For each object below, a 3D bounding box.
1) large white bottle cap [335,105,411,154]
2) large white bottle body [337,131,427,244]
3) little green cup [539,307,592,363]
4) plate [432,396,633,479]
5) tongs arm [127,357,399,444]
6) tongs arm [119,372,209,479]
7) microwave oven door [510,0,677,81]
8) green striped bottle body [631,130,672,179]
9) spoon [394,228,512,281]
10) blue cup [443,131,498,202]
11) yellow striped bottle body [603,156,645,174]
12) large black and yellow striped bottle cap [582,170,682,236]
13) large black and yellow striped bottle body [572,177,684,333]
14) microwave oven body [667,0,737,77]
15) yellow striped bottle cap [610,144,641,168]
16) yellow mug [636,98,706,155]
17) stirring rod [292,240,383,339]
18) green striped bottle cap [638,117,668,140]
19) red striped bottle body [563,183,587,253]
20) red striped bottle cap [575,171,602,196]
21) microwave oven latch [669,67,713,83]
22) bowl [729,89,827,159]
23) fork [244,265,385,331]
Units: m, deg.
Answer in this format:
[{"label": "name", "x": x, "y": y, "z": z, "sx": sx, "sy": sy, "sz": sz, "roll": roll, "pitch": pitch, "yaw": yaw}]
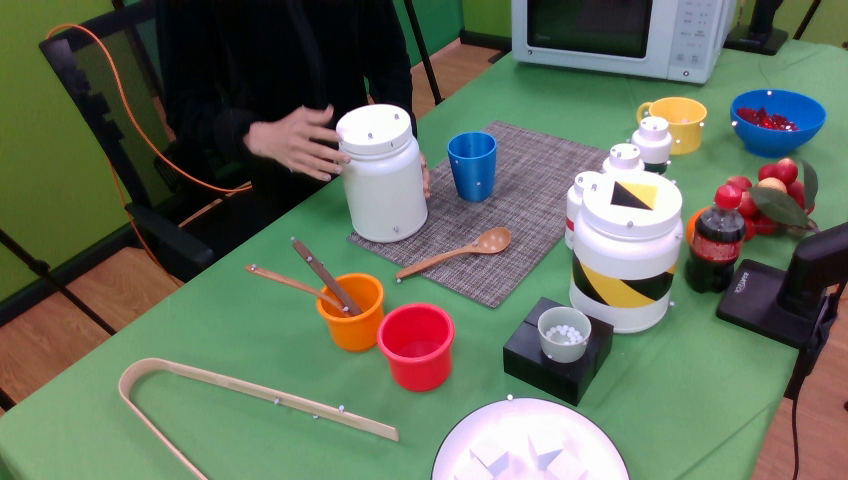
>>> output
[{"label": "large white bottle cap", "x": -0.077, "y": -0.168, "z": 0.916, "sx": 0.115, "sy": 0.018, "sz": 0.114, "roll": -5, "pitch": 41, "yaw": 5}, {"label": "large white bottle body", "x": -0.067, "y": -0.101, "z": 0.973, "sx": 0.130, "sy": 0.185, "sz": 0.130, "roll": -4, "pitch": 40, "yaw": 4}, {"label": "little green cup", "x": 0.168, "y": 0.115, "z": 0.721, "sx": 0.061, "sy": 0.039, "sz": 0.061, "roll": -4, "pitch": 42, "yaw": 4}, {"label": "plate", "x": 0.112, "y": 0.261, "z": 0.634, "sx": 0.209, "sy": 0.038, "sz": 0.208, "roll": -5, "pitch": 40, "yaw": 4}, {"label": "tongs arm", "x": -0.213, "y": 0.205, "z": 0.755, "sx": 0.382, "sy": 0.026, "sz": 0.051, "roll": 12, "pitch": 46, "yaw": 23}, {"label": "tongs arm", "x": -0.258, "y": 0.257, "z": 0.700, "sx": 0.384, "sy": 0.028, "sz": 0.028, "roll": 24, "pitch": 55, "yaw": 34}, {"label": "microwave oven door", "x": 0.354, "y": -0.478, "z": 1.290, "sx": 0.353, "sy": 0.245, "sz": 0.039, "roll": 15, "pitch": 45, "yaw": 25}, {"label": "green striped bottle body", "x": 0.375, "y": -0.140, "z": 1.007, "sx": 0.063, "sy": 0.120, "sz": 0.063, "roll": -5, "pitch": 40, "yaw": 5}, {"label": "spoon", "x": 0.045, "y": 0.024, "z": 0.935, "sx": 0.194, "sy": 0.022, "sz": 0.041, "roll": -18, "pitch": 66, "yaw": -11}, {"label": "blue cup", "x": 0.087, "y": -0.122, "z": 1.040, "sx": 0.092, "sy": 0.101, "sz": 0.092, "roll": -5, "pitch": 42, "yaw": 5}, {"label": "yellow striped bottle body", "x": 0.313, "y": -0.089, "z": 0.956, "sx": 0.063, "sy": 0.121, "sz": 0.062, "roll": -4, "pitch": 40, "yaw": 4}, {"label": "large black and yellow striped bottle cap", "x": 0.252, "y": -0.048, "z": 0.735, "sx": 0.115, "sy": 0.019, "sz": 0.114, "roll": -3, "pitch": 40, "yaw": 3}, {"label": "large black and yellow striped bottle body", "x": 0.262, "y": 0.017, "z": 0.788, "sx": 0.131, "sy": 0.185, "sz": 0.130, "roll": -5, "pitch": 40, "yaw": 4}, {"label": "microwave oven body", "x": 0.462, "y": -0.552, "z": 1.369, "sx": 0.439, "sy": 0.261, "sz": 0.326, "roll": 15, "pitch": 45, "yaw": 26}, {"label": "yellow striped bottle cap", "x": 0.307, "y": -0.128, "z": 0.923, "sx": 0.044, "sy": 0.019, "sz": 0.044, "roll": -6, "pitch": 39, "yaw": 5}, {"label": "yellow mug", "x": 0.453, "y": -0.217, "z": 1.128, "sx": 0.100, "sy": 0.064, "sz": 0.129, "roll": -34, "pitch": 46, "yaw": -27}, {"label": "stirring rod", "x": -0.118, "y": 0.068, "z": 0.825, "sx": 0.176, "sy": 0.006, "sz": 0.014, "roll": 48, "pitch": 59, "yaw": -3}, {"label": "green striped bottle cap", "x": 0.369, "y": -0.180, "z": 0.974, "sx": 0.044, "sy": 0.020, "sz": 0.044, "roll": -4, "pitch": 41, "yaw": 4}, {"label": "red striped bottle body", "x": 0.246, "y": -0.041, "z": 0.910, "sx": 0.063, "sy": 0.120, "sz": 0.062, "roll": -2, "pitch": 38, "yaw": 2}, {"label": "red striped bottle cap", "x": 0.242, "y": -0.081, "z": 0.876, "sx": 0.044, "sy": 0.018, "sz": 0.044, "roll": -5, "pitch": 44, "yaw": 5}, {"label": "microwave oven latch", "x": 0.556, "y": -0.349, "z": 1.261, "sx": 0.078, "sy": 0.029, "sz": 0.030, "roll": 16, "pitch": 46, "yaw": 27}, {"label": "bowl", "x": 0.615, "y": -0.197, "z": 1.069, "sx": 0.151, "sy": 0.077, "sz": 0.150, "roll": -5, "pitch": 40, "yaw": 5}, {"label": "fork", "x": -0.142, "y": 0.078, "z": 0.806, "sx": 0.209, "sy": 0.018, "sz": 0.028, "roll": 30, "pitch": 32, "yaw": -23}]
